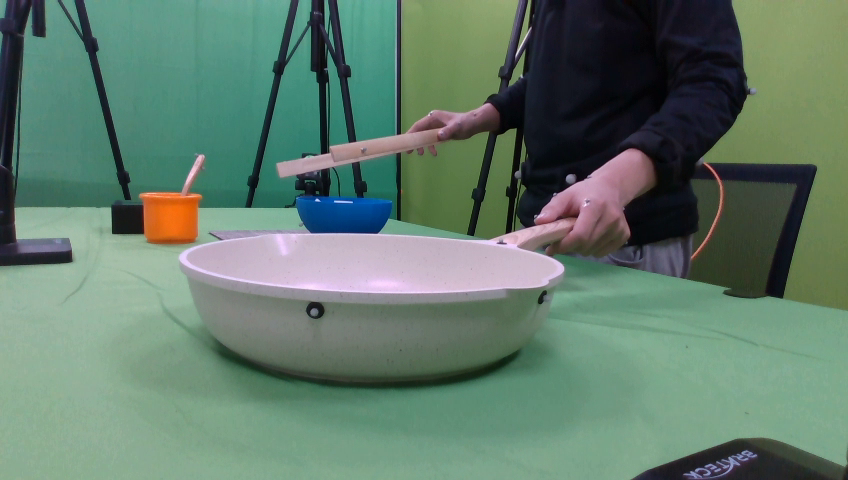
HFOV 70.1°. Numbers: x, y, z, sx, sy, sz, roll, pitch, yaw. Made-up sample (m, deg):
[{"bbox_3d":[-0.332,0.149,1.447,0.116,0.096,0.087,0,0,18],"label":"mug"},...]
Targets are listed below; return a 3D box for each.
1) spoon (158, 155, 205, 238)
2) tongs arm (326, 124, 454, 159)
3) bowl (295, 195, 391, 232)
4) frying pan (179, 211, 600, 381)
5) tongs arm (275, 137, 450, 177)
[{"bbox_3d":[-0.392,-0.076,0.998,0.041,0.193,0.021,1,-36,6],"label":"spoon"},{"bbox_3d":[-0.042,-0.178,1.074,0.028,0.028,0.389,-17,3,36],"label":"tongs arm"},{"bbox_3d":[-0.127,-0.028,0.946,0.151,0.077,0.151,2,7,0],"label":"bowl"},{"bbox_3d":[0.034,0.019,0.557,0.305,0.102,0.490,11,19,44],"label":"frying pan"},{"bbox_3d":[-0.098,-0.169,1.127,0.387,0.026,0.050,-20,6,-43],"label":"tongs arm"}]
